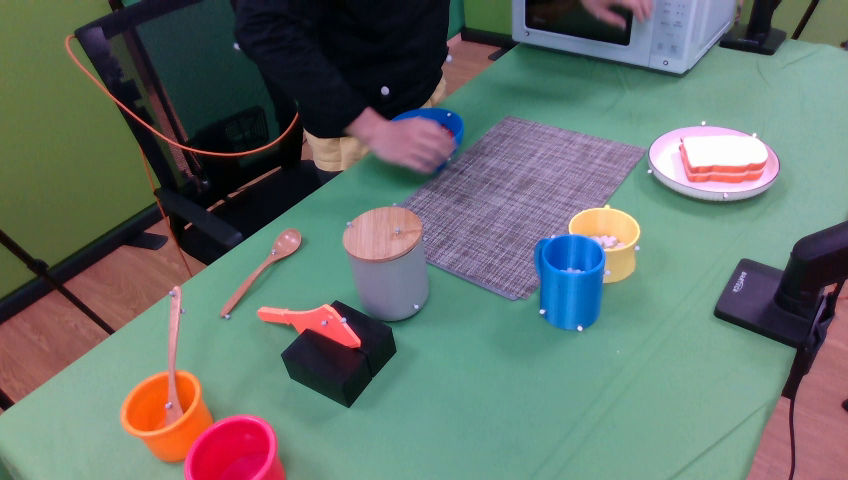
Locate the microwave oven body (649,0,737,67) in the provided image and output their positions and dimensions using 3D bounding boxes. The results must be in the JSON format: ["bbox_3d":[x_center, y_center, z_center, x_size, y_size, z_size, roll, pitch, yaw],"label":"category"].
[{"bbox_3d":[0.475,-0.602,1.411,0.438,0.261,0.327,23,50,32],"label":"microwave oven body"}]

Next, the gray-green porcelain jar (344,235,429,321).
[{"bbox_3d":[-0.049,0.042,0.849,0.106,0.127,0.105,-4,41,4],"label":"gray-green porcelain jar"}]

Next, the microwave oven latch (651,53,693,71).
[{"bbox_3d":[0.532,-0.387,1.301,0.078,0.029,0.030,27,52,34],"label":"microwave oven latch"}]

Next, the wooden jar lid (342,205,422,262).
[{"bbox_3d":[-0.055,-0.006,0.808,0.108,0.021,0.108,-6,41,6],"label":"wooden jar lid"}]

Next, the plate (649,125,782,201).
[{"bbox_3d":[0.493,-0.128,1.036,0.207,0.039,0.206,-4,41,4],"label":"plate"}]

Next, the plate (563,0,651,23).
[{"bbox_3d":[0.440,-0.573,1.455,0.209,0.038,0.208,-6,43,6],"label":"plate"}]

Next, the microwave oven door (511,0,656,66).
[{"bbox_3d":[0.351,-0.539,1.349,0.353,0.245,0.039,24,50,31],"label":"microwave oven door"}]

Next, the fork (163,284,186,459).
[{"bbox_3d":[-0.303,0.157,0.733,0.028,0.019,0.207,-3,84,12],"label":"fork"}]

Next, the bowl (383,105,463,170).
[{"bbox_3d":[0.002,-0.185,1.143,0.151,0.077,0.150,-4,41,4],"label":"bowl"}]

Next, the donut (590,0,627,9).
[{"bbox_3d":[0.438,-0.586,1.433,0.099,0.048,0.098,-2,53,3],"label":"donut"}]

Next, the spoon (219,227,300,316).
[{"bbox_3d":[-0.261,0.046,0.954,0.041,0.021,0.194,27,48,11],"label":"spoon"}]

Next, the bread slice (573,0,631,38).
[{"bbox_3d":[0.428,-0.557,1.479,0.105,0.019,0.131,-26,69,-19],"label":"bread slice"}]

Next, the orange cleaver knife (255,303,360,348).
[{"bbox_3d":[-0.161,0.115,0.813,0.210,0.077,0.012,-4,32,46],"label":"orange cleaver knife"}]

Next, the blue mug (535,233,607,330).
[{"bbox_3d":[0.191,0.048,0.824,0.082,0.106,0.115,-26,44,-21],"label":"blue mug"}]

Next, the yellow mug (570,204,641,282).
[{"bbox_3d":[0.268,-0.005,0.904,0.099,0.064,0.130,7,41,15],"label":"yellow mug"}]
